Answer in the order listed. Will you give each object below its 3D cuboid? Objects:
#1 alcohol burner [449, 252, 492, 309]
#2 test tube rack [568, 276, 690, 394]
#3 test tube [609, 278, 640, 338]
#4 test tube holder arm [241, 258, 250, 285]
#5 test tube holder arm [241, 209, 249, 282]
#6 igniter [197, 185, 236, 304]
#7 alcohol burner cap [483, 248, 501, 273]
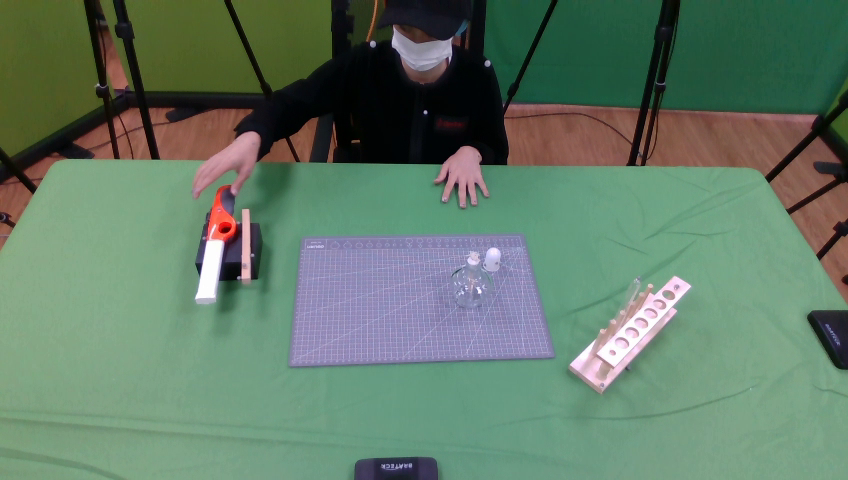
[{"bbox_3d":[0.084,0.066,1.074,0.078,0.120,0.077,1,44,-1],"label":"alcohol burner"},{"bbox_3d":[0.353,0.149,1.039,0.242,0.085,0.066,-34,56,-31],"label":"test tube rack"},{"bbox_3d":[0.331,0.115,1.007,0.017,0.151,0.017,2,45,-2],"label":"test tube"},{"bbox_3d":[-0.316,0.043,1.071,0.015,0.010,0.087,-2,48,-15],"label":"test tube holder arm"},{"bbox_3d":[-0.324,0.006,1.096,0.015,0.013,0.177,-2,48,-15],"label":"test tube holder arm"},{"bbox_3d":[-0.376,-0.002,1.101,0.057,0.025,0.274,-1,49,-7],"label":"igniter"},{"bbox_3d":[0.130,0.037,1.156,0.034,0.048,0.033,1,46,-1],"label":"alcohol burner cap"}]
